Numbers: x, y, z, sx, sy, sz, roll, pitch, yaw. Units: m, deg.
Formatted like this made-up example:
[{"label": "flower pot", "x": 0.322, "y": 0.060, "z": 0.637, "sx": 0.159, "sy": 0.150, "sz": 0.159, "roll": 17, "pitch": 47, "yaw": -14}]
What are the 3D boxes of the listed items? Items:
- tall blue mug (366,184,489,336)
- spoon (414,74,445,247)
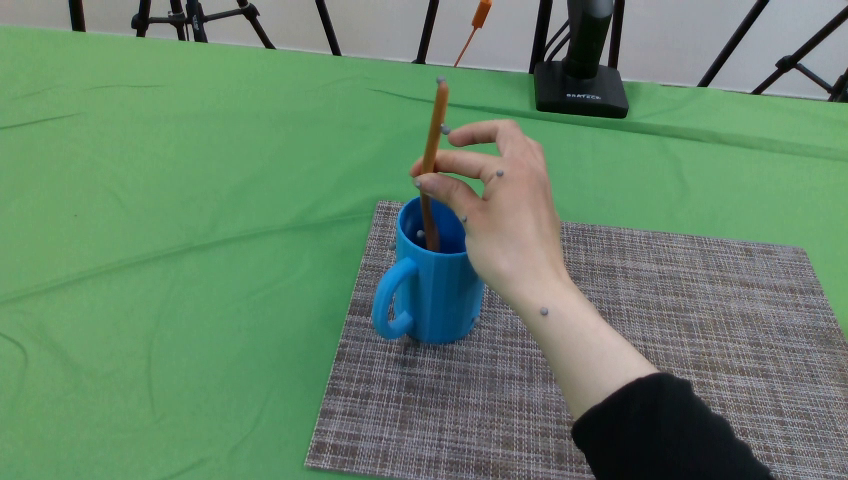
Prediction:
[{"label": "tall blue mug", "x": 0.004, "y": 0.029, "z": 0.496, "sx": 0.077, "sy": 0.109, "sz": 0.106, "roll": 13, "pitch": 45, "yaw": 7}, {"label": "spoon", "x": 0.000, "y": -0.040, "z": 0.458, "sx": 0.021, "sy": 0.195, "sz": 0.041, "roll": 4, "pitch": 50, "yaw": 2}]
